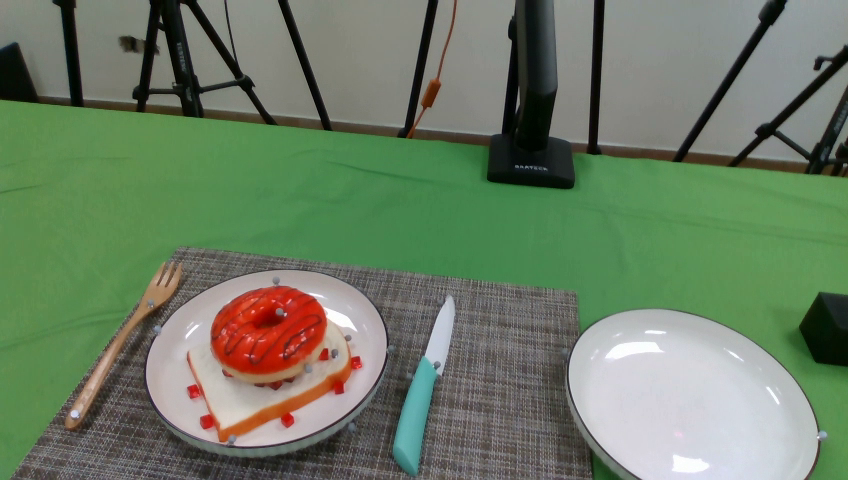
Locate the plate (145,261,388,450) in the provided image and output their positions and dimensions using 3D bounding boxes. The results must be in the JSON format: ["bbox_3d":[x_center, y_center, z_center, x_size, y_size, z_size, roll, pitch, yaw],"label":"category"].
[{"bbox_3d":[-0.137,0.100,0.547,0.209,0.038,0.207,2,40,-1],"label":"plate"}]

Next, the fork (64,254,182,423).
[{"bbox_3d":[-0.279,0.083,0.573,0.028,0.019,0.205,12,37,-1],"label":"fork"}]

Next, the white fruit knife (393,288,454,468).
[{"bbox_3d":[0.005,0.114,0.561,0.027,0.016,0.206,33,38,-10],"label":"white fruit knife"}]

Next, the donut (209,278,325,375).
[{"bbox_3d":[-0.135,0.073,0.524,0.099,0.048,0.098,2,39,-1],"label":"donut"}]

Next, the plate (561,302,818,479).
[{"bbox_3d":[0.222,0.140,0.529,0.208,0.039,0.205,2,39,-1],"label":"plate"}]

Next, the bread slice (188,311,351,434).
[{"bbox_3d":[-0.135,0.104,0.545,0.132,0.019,0.103,-22,46,-26],"label":"bread slice"}]
